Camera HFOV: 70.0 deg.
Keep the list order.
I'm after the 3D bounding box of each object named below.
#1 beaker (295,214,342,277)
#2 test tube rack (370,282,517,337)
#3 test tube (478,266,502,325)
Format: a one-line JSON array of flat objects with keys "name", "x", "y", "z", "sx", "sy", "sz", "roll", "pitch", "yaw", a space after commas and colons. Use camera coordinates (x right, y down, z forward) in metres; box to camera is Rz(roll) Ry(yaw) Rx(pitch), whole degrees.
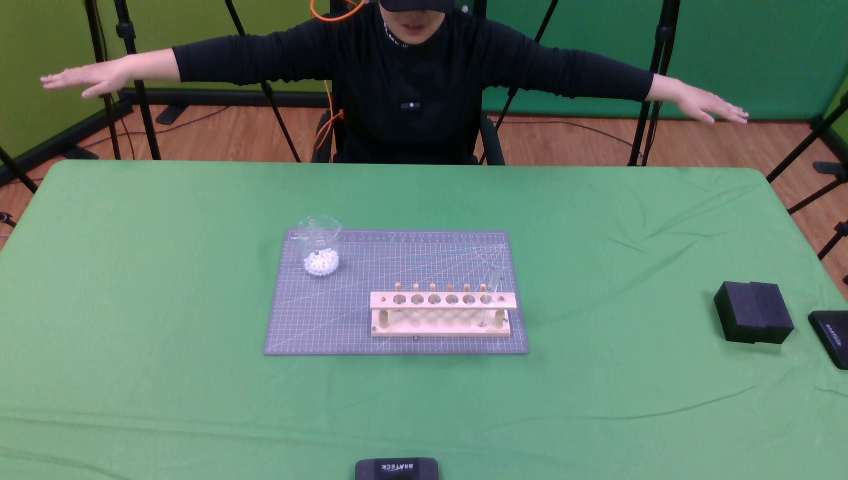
[{"name": "beaker", "x": -0.191, "y": 0.013, "z": 1.114, "sx": 0.084, "sy": 0.101, "sz": 0.073, "roll": -12, "pitch": 49, "yaw": -17}, {"name": "test tube rack", "x": 0.030, "y": 0.116, "z": 1.041, "sx": 0.242, "sy": 0.085, "sz": 0.066, "roll": 1, "pitch": 46, "yaw": -4}, {"name": "test tube", "x": 0.107, "y": 0.096, "z": 0.998, "sx": 0.017, "sy": 0.151, "sz": 0.017, "roll": 4, "pitch": 48, "yaw": -4}]
